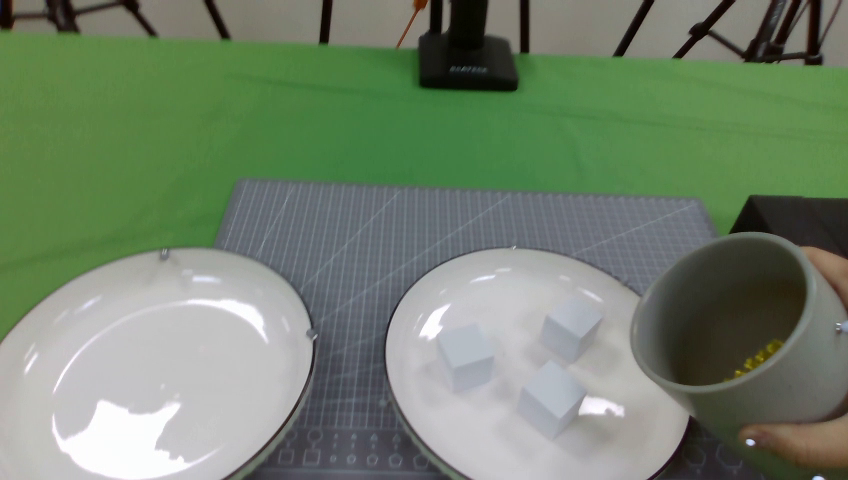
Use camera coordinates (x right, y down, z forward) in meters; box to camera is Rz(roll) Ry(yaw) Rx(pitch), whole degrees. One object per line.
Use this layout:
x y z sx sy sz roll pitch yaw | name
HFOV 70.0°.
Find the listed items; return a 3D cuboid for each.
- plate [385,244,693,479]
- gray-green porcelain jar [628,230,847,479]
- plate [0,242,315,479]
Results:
0.077 0.089 0.422 0.208 0.039 0.205 3 45 -2 | plate
0.202 0.073 0.356 0.127 0.106 0.105 40 41 -22 | gray-green porcelain jar
-0.176 0.087 0.402 0.209 0.038 0.207 2 45 -1 | plate
